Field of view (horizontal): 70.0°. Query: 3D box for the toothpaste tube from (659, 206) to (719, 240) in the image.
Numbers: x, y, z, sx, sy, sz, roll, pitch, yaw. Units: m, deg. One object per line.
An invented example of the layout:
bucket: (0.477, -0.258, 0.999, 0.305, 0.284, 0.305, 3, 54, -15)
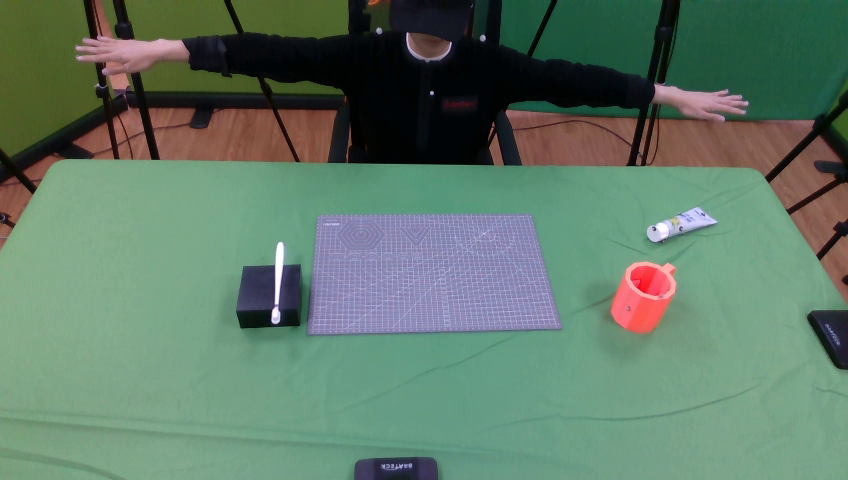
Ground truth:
toothpaste tube: (0.542, -0.035, 1.259, 0.165, 0.034, 0.054, -19, 55, -26)

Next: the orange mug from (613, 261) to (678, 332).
orange mug: (0.403, 0.091, 1.078, 0.126, 0.101, 0.083, -33, 56, -25)

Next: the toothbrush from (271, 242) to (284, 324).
toothbrush: (-0.253, 0.068, 1.048, 0.014, 0.017, 0.180, -5, 46, -4)

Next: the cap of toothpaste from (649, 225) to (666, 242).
cap of toothpaste: (0.473, -0.015, 1.226, 0.011, 0.037, 0.037, -20, 50, -26)
